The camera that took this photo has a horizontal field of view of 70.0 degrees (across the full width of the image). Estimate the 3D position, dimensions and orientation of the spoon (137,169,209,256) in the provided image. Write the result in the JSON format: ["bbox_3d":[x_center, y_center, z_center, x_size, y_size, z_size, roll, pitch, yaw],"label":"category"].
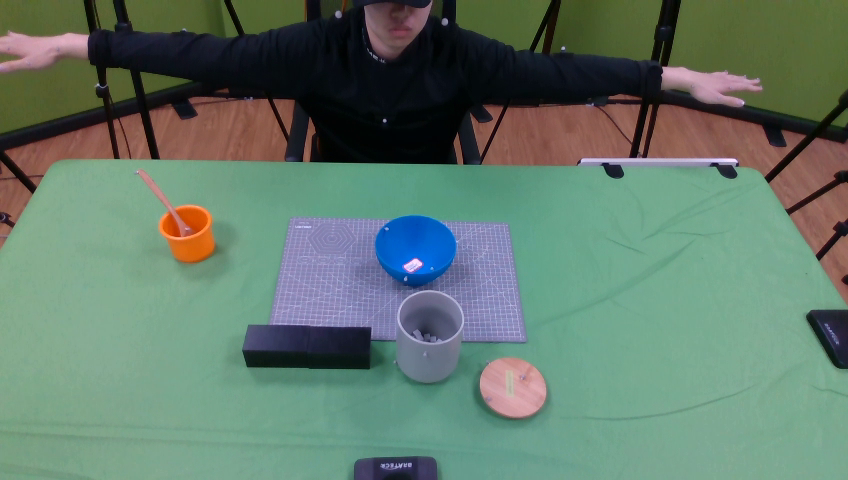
[{"bbox_3d":[-0.466,-0.051,1.123,0.041,0.194,0.021,-41,17,-33],"label":"spoon"}]

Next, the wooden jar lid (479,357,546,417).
[{"bbox_3d":[0.142,0.240,0.979,0.108,0.021,0.107,1,46,-1],"label":"wooden jar lid"}]

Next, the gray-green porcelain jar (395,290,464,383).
[{"bbox_3d":[0.006,0.160,0.972,0.106,0.127,0.105,2,46,-2],"label":"gray-green porcelain jar"}]

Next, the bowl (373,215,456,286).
[{"bbox_3d":[-0.019,0.032,1.123,0.151,0.077,0.150,2,46,-2],"label":"bowl"}]
